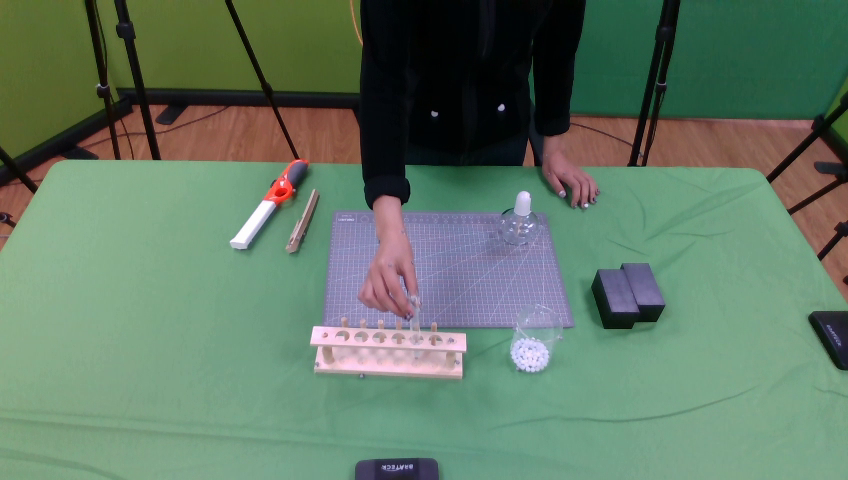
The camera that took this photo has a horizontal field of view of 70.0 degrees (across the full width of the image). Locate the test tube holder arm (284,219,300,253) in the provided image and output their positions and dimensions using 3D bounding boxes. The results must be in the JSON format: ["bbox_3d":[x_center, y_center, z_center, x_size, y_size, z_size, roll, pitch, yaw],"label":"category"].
[{"bbox_3d":[-0.254,-0.010,1.194,0.010,0.015,0.087,-15,39,26],"label":"test tube holder arm"}]

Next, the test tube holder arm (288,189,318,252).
[{"bbox_3d":[-0.243,-0.043,1.223,0.013,0.015,0.177,-16,39,25],"label":"test tube holder arm"}]

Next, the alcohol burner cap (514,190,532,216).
[{"bbox_3d":[0.192,-0.074,1.166,0.034,0.048,0.033,1,40,-1],"label":"alcohol burner cap"}]

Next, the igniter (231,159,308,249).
[{"bbox_3d":[-0.313,-0.082,1.251,0.057,0.025,0.275,8,45,18],"label":"igniter"}]

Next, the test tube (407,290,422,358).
[{"bbox_3d":[-0.014,0.131,0.927,0.017,0.151,0.017,-2,42,2],"label":"test tube"}]

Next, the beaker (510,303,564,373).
[{"bbox_3d":[0.182,0.164,1.000,0.074,0.101,0.083,2,45,-1],"label":"beaker"}]

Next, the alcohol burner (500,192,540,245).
[{"bbox_3d":[0.190,-0.048,1.190,0.078,0.120,0.077,1,47,-1],"label":"alcohol burner"}]

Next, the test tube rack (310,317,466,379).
[{"bbox_3d":[-0.056,0.171,0.986,0.242,0.085,0.066,3,46,-1],"label":"test tube rack"}]
